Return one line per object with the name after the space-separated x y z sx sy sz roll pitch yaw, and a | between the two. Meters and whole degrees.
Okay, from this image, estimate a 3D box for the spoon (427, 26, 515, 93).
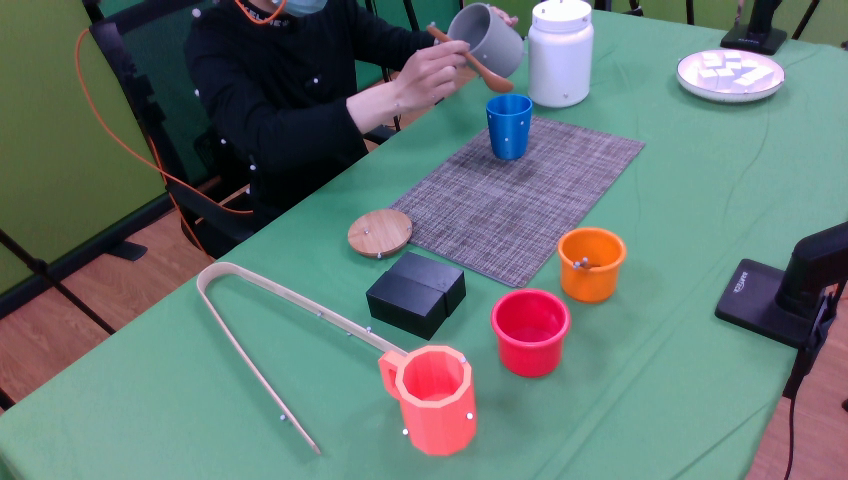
0.077 -0.293 0.990 0.041 0.195 0.021 -8 58 52 | spoon

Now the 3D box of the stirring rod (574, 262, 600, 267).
0.222 0.033 0.816 0.014 0.006 0.177 8 1 22 | stirring rod

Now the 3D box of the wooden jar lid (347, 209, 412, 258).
-0.071 -0.010 0.997 0.108 0.021 0.108 -5 44 5 | wooden jar lid

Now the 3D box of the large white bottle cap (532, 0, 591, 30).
0.274 -0.450 1.204 0.115 0.018 0.114 -4 41 4 | large white bottle cap

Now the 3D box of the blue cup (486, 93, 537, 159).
0.160 -0.209 1.129 0.092 0.100 0.092 -4 39 3 | blue cup

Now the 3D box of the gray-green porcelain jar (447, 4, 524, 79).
0.123 -0.374 1.165 0.105 0.128 0.105 -14 68 38 | gray-green porcelain jar

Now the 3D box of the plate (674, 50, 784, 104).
0.631 -0.336 1.262 0.207 0.039 0.206 -4 41 4 | plate

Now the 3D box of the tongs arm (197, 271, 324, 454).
-0.236 0.154 0.831 0.028 0.028 0.384 -37 48 -17 | tongs arm

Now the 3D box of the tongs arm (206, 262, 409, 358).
-0.179 0.106 0.870 0.382 0.027 0.051 23 55 32 | tongs arm

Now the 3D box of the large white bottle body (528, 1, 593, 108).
0.283 -0.386 1.259 0.130 0.185 0.130 -5 41 4 | large white bottle body

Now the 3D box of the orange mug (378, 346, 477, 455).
0.002 0.179 0.708 0.125 0.101 0.083 25 50 27 | orange mug
